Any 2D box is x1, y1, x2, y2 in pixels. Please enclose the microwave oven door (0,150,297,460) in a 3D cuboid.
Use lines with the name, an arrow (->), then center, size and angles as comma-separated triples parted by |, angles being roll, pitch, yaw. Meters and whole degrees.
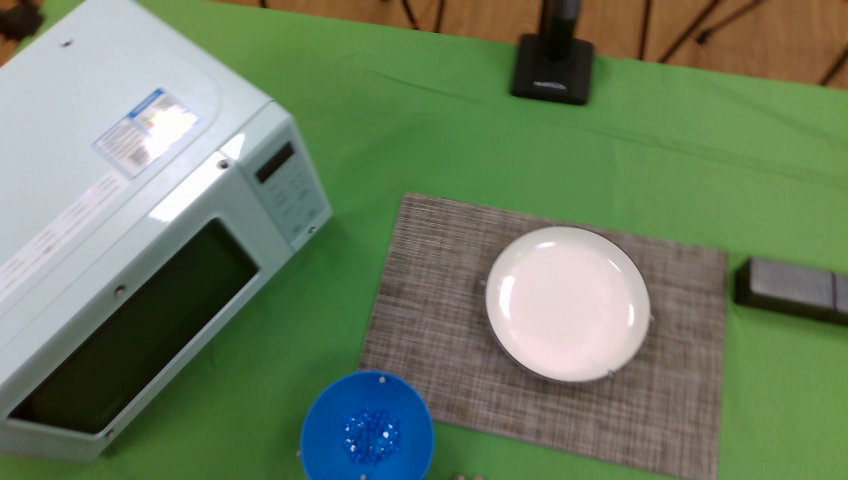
microwave oven door -> -0.303, 0.084, 0.671 | 0.039, 0.245, 0.355 | 37, 73, 17

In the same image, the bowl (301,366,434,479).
bowl -> -0.061, 0.230, 0.710 | 0.151, 0.077, 0.150 | -1, 67, 2

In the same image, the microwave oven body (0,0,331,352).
microwave oven body -> -0.387, -0.029, 0.726 | 0.324, 0.262, 0.441 | 37, 74, 15

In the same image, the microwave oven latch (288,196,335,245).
microwave oven latch -> -0.156, -0.032, 0.824 | 0.030, 0.030, 0.079 | 39, 75, 16

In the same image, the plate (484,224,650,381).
plate -> 0.180, 0.080, 0.781 | 0.207, 0.039, 0.206 | -1, 67, 2
